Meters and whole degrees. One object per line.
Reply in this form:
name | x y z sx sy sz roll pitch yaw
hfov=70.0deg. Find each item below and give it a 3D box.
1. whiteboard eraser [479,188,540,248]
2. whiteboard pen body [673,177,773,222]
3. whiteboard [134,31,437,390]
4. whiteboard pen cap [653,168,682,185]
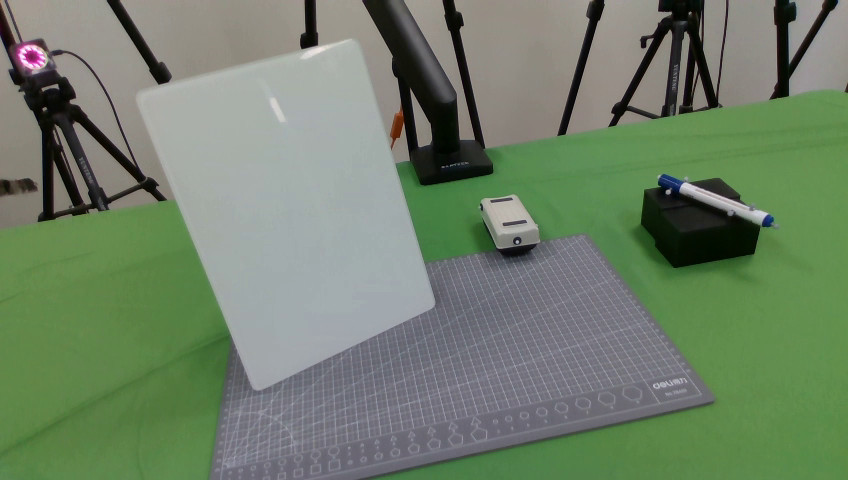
whiteboard eraser | 0.109 -0.029 0.789 0.055 0.042 0.111 -11 30 -3
whiteboard pen body | 0.343 -0.054 0.717 0.017 0.017 0.139 -25 37 -25
whiteboard | -0.146 -0.039 0.660 0.217 0.307 0.143 -23 17 -22
whiteboard pen cap | 0.306 -0.079 0.760 0.033 0.018 0.018 -12 29 25
